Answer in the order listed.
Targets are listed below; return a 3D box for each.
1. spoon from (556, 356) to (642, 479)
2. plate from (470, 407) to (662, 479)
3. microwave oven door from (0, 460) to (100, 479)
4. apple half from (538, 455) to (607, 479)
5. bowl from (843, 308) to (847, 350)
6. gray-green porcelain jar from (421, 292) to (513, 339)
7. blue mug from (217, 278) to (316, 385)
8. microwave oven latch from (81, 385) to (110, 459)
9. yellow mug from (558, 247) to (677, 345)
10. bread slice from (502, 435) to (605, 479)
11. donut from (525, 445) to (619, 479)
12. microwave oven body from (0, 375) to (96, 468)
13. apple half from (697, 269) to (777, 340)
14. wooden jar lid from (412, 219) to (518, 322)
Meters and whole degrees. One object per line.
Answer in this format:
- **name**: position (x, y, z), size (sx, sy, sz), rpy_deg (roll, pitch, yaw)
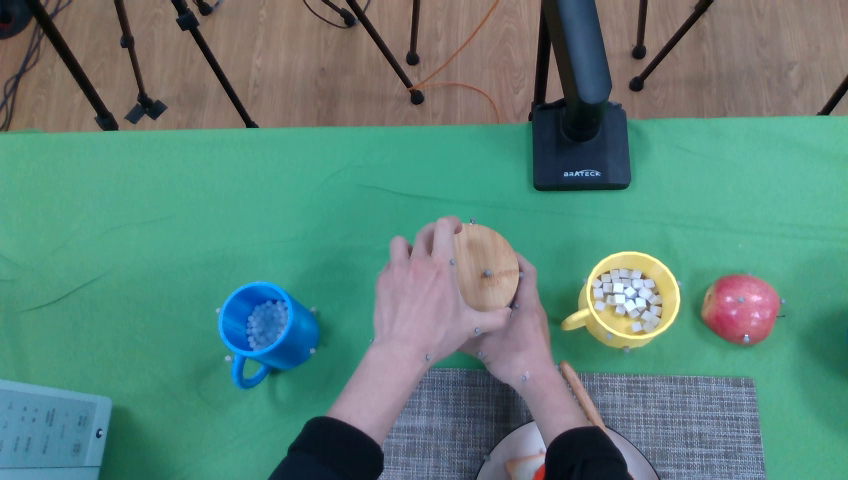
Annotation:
- **spoon**: position (0.191, 0.210, 0.641), size (0.041, 0.022, 0.193), rpy_deg (-25, 79, -5)
- **plate**: position (0.148, 0.284, 0.638), size (0.207, 0.039, 0.206), rpy_deg (-2, 72, 5)
- **microwave oven door**: position (-0.411, 0.385, 0.537), size (0.039, 0.245, 0.353), rpy_deg (0, 71, 7)
- **apple half**: position (0.146, 0.250, 0.581), size (0.081, 0.033, 0.080), rpy_deg (-5, 69, 12)
- **bowl**: position (0.514, 0.106, 0.642), size (0.151, 0.077, 0.150), rpy_deg (-2, 72, 6)
- **gray-green porcelain jar**: position (0.048, 0.053, 0.683), size (0.106, 0.127, 0.105), rpy_deg (-2, 71, 5)
- **blue mug**: position (-0.185, 0.112, 0.697), size (0.082, 0.106, 0.116), rpy_deg (21, 75, 12)
- **microwave oven latch**: position (-0.390, 0.210, 0.701), size (0.030, 0.030, 0.078), rpy_deg (5, 73, 7)
- **yellow mug**: position (0.214, 0.071, 0.691), size (0.131, 0.064, 0.099), rpy_deg (-22, 70, -1)
- **bread slice**: position (0.154, 0.283, 0.640), size (0.107, 0.018, 0.133), rpy_deg (-16, 70, 2)
- **donut**: position (0.151, 0.259, 0.615), size (0.099, 0.048, 0.098), rpy_deg (-1, 71, 5)
- **microwave oven body**: position (-0.554, 0.346, 0.571), size (0.326, 0.262, 0.439), rpy_deg (1, 72, 6)
- **apple half**: position (0.357, 0.068, 0.685), size (0.074, 0.054, 0.080), rpy_deg (22, 75, 15)
- **wooden jar lid**: position (0.042, 0.032, 0.624), size (0.108, 0.021, 0.107), rpy_deg (-2, 70, 7)
